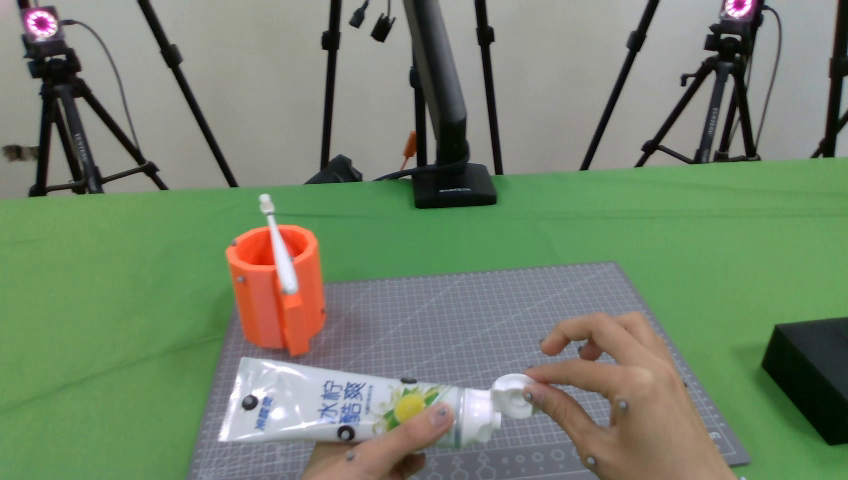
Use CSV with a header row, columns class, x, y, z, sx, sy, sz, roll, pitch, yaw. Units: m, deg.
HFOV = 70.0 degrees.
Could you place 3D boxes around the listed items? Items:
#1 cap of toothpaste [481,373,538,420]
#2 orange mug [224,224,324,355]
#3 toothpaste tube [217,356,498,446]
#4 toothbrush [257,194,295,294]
class,x,y,z,sx,sy,sz,roll,pitch,yaw
cap of toothpaste,0.053,0.099,0.377,0.037,0.037,0.011,2,28,5
orange mug,-0.143,0.053,0.604,0.084,0.101,0.125,-14,30,-21
toothpaste tube,-0.038,0.100,0.367,0.165,0.035,0.054,4,51,2
toothbrush,-0.146,-0.001,0.591,0.014,0.017,0.180,-8,32,-19
